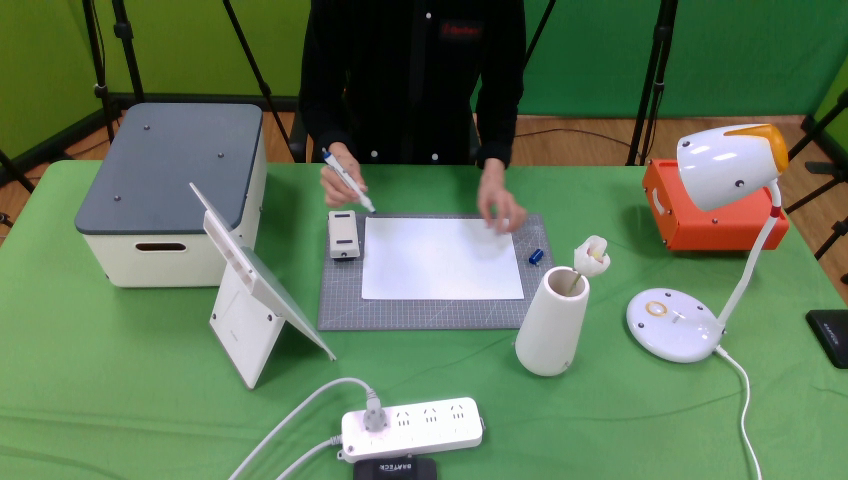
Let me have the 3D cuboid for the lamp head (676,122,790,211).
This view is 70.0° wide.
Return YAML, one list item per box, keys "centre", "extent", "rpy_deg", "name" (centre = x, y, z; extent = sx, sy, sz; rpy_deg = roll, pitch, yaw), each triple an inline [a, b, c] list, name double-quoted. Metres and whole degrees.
- centre: [0.423, -0.104, 0.819]
  extent: [0.122, 0.113, 0.112]
  rpy_deg: [-13, 33, 40]
  name: "lamp head"

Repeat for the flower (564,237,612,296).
- centre: [0.206, 0.088, 0.892]
  extent: [0.038, 0.363, 0.044]
  rpy_deg: [-16, 67, -9]
  name: "flower"

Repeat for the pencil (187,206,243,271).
- centre: [-0.401, -0.009, 1.176]
  extent: [0.012, 0.012, 0.193]
  rpy_deg: [15, 45, 10]
  name: "pencil"

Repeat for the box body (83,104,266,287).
- centre: [-0.447, -0.088, 1.150]
  extent: [0.254, 0.161, 0.361]
  rpy_deg: [-1, 46, -5]
  name: "box body"

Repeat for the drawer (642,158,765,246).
- centre: [0.566, -0.076, 1.211]
  extent: [0.212, 0.073, 0.193]
  rpy_deg: [2, 45, -2]
  name: "drawer"

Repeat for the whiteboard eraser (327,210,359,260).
- centre: [-0.158, -0.009, 1.177]
  extent: [0.055, 0.042, 0.112]
  rpy_deg: [-6, 47, -7]
  name: "whiteboard eraser"

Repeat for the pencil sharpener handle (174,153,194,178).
- centre: [-0.479, -0.156, 1.225]
  extent: [0.036, 0.068, 0.030]
  rpy_deg: [24, 48, 1]
  name: "pencil sharpener handle"

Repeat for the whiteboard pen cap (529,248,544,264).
- centre: [0.219, 0.032, 1.182]
  extent: [0.018, 0.018, 0.033]
  rpy_deg: [31, 52, 23]
  name: "whiteboard pen cap"

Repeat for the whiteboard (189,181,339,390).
- centre: [-0.292, 0.096, 0.929]
  extent: [0.144, 0.307, 0.216]
  rpy_deg: [-37, 57, -10]
  name: "whiteboard"

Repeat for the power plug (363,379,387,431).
- centre: [-0.072, 0.252, 0.910]
  extent: [0.035, 0.053, 0.072]
  rpy_deg: [3, 45, -1]
  name: "power plug"

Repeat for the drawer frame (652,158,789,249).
- centre: [0.571, -0.075, 1.214]
  extent: [0.214, 0.083, 0.200]
  rpy_deg: [0, 45, -1]
  name: "drawer frame"

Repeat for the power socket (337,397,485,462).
- centre: [-0.018, 0.285, 0.915]
  extent: [0.227, 0.033, 0.071]
  rpy_deg: [-5, 46, -8]
  name: "power socket"

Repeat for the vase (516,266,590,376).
- centre: [0.208, 0.132, 0.964]
  extent: [0.098, 0.201, 0.097]
  rpy_deg: [3, 46, -3]
  name: "vase"

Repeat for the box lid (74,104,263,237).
- centre: [-0.443, -0.139, 1.095]
  extent: [0.263, 0.015, 0.369]
  rpy_deg: [-1, 45, -5]
  name: "box lid"

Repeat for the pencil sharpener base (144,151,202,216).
- centre: [-0.493, -0.112, 1.199]
  extent: [0.061, 0.107, 0.076]
  rpy_deg: [15, 47, 11]
  name: "pencil sharpener base"

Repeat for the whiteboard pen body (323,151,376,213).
- centre: [-0.124, -0.095, 1.031]
  extent: [0.017, 0.141, 0.017]
  rpy_deg: [-28, 32, 19]
  name: "whiteboard pen body"

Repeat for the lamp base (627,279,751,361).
- centre: [0.459, 0.100, 1.027]
  extent: [0.178, 0.181, 0.160]
  rpy_deg: [27, 51, 17]
  name: "lamp base"
